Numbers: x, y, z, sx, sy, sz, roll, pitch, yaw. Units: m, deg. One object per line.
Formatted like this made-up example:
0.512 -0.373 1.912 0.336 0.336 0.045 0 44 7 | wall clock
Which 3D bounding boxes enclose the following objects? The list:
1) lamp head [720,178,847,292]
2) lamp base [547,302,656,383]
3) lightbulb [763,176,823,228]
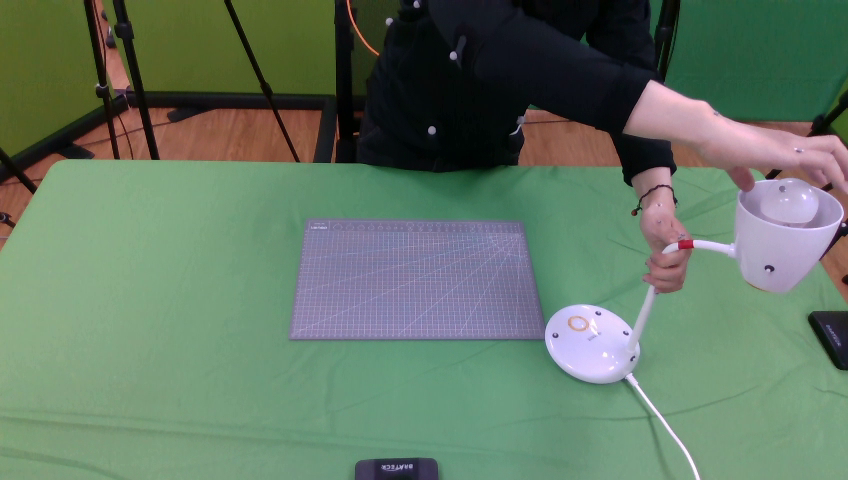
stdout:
0.422 0.001 0.726 0.112 0.123 0.112 0 38 1 | lamp head
0.304 0.127 0.982 0.160 0.181 0.178 -33 59 -29 | lamp base
0.427 -0.024 0.714 0.059 0.108 0.059 -2 29 1 | lightbulb
